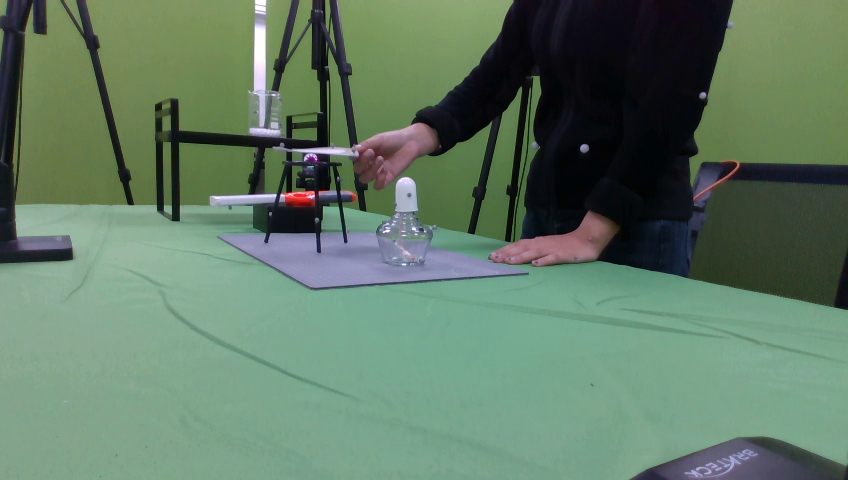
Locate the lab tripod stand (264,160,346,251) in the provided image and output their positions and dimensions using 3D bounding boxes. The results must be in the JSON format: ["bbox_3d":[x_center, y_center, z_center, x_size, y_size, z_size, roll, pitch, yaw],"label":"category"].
[{"bbox_3d":[-0.177,-0.056,0.930,0.148,0.131,0.148,1,9,0],"label":"lab tripod stand"}]

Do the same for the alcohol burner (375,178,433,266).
[{"bbox_3d":[-0.026,-0.025,0.815,0.078,0.119,0.078,4,6,0],"label":"alcohol burner"}]

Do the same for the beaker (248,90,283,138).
[{"bbox_3d":[-0.354,-0.278,1.340,0.074,0.100,0.084,6,9,26],"label":"beaker"}]

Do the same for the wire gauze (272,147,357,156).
[{"bbox_3d":[-0.166,-0.135,0.921,0.125,0.011,0.121,-1,10,-8],"label":"wire gauze"}]

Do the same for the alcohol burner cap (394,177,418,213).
[{"bbox_3d":[-0.025,-0.060,0.809,0.034,0.048,0.034,-4,10,1],"label":"alcohol burner cap"}]

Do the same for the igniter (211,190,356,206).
[{"bbox_3d":[-0.260,-0.080,1.151,0.278,0.025,0.057,-5,13,-34],"label":"igniter"}]
